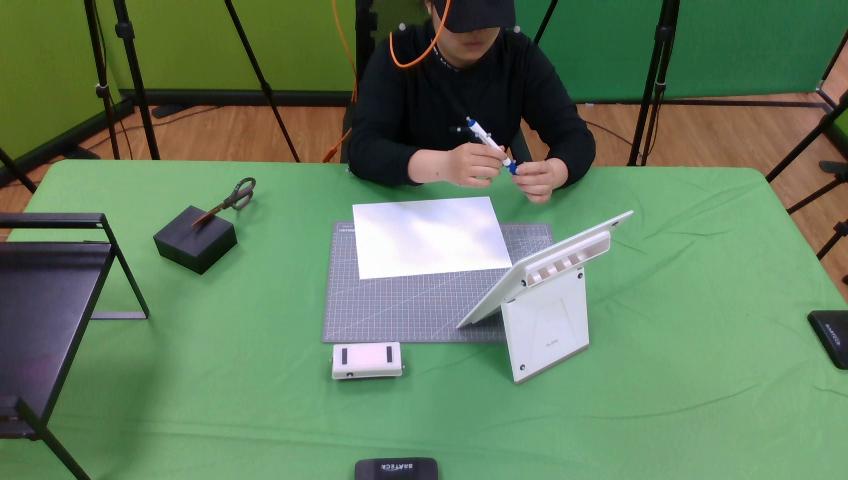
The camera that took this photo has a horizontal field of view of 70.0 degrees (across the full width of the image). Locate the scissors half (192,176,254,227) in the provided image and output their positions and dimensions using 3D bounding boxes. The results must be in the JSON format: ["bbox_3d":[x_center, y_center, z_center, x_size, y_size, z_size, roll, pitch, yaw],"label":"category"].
[{"bbox_3d":[-0.388,-0.075,1.174,0.013,0.040,0.174,29,47,8],"label":"scissors half"}]

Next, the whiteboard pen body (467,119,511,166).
[{"bbox_3d":[0.126,-0.169,1.104,0.017,0.141,0.017,-31,35,25],"label":"whiteboard pen body"}]

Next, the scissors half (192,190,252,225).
[{"bbox_3d":[-0.394,-0.060,1.187,0.013,0.040,0.175,25,29,12],"label":"scissors half"}]

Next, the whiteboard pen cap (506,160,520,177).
[{"bbox_3d":[0.165,-0.135,1.135,0.018,0.033,0.018,-27,39,24],"label":"whiteboard pen cap"}]

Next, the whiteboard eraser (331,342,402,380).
[{"bbox_3d":[-0.094,0.198,0.986,0.113,0.042,0.055,-2,44,-6],"label":"whiteboard eraser"}]

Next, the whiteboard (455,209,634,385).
[{"bbox_3d":[0.211,0.111,0.955,0.217,0.306,0.143,-21,71,-23],"label":"whiteboard"}]
